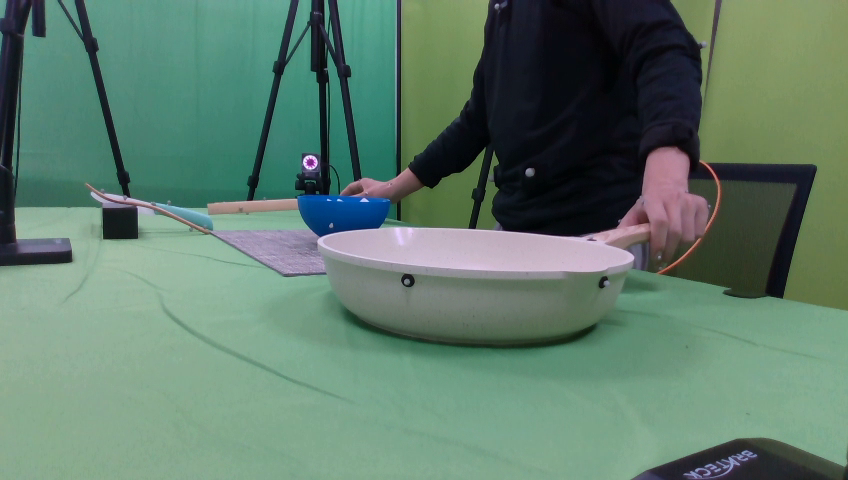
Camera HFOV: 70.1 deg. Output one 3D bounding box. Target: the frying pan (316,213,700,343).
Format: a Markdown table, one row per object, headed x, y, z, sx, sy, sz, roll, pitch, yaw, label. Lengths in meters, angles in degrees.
| x | y | z | sx | sy | sz | roll | pitch | yaw | label |
| --- | --- | --- | --- | --- | --- | --- | --- | --- | --- |
| 0.133 | 0.013 | 0.629 | 0.490 | 0.102 | 0.305 | -12 | 14 | -30 | frying pan |

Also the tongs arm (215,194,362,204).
| x | y | z | sx | sy | sz | roll | pitch | yaw | label |
| --- | --- | --- | --- | --- | --- | --- | --- | --- | --- |
| -0.310 | -0.090 | 1.468 | 0.386 | 0.026 | 0.050 | -4 | 4 | -9 | tongs arm |

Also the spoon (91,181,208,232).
| x | y | z | sx | sy | sz | roll | pitch | yaw | label |
| --- | --- | --- | --- | --- | --- | --- | --- | --- | --- |
| -0.461 | -0.053 | 1.023 | 0.195 | 0.021 | 0.041 | 21 | 22 | -24 | spoon |

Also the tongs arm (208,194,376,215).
| x | y | z | sx | sy | sz | roll | pitch | yaw | label |
| --- | --- | --- | --- | --- | --- | --- | --- | --- | --- |
| -0.293 | -0.083 | 1.394 | 0.389 | 0.028 | 0.028 | -5 | 1 | -21 | tongs arm |

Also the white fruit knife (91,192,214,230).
| x | y | z | sx | sy | sz | roll | pitch | yaw | label |
| --- | --- | --- | --- | --- | --- | --- | --- | --- | --- |
| -0.477 | -0.055 | 1.077 | 0.208 | 0.027 | 0.016 | 15 | -5 | -30 | white fruit knife |

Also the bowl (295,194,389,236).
| x | y | z | sx | sy | sz | roll | pitch | yaw | label |
| --- | --- | --- | --- | --- | --- | --- | --- | --- | --- |
| -0.132 | -0.032 | 0.980 | 0.151 | 0.077 | 0.151 | 2 | 7 | 0 | bowl |
